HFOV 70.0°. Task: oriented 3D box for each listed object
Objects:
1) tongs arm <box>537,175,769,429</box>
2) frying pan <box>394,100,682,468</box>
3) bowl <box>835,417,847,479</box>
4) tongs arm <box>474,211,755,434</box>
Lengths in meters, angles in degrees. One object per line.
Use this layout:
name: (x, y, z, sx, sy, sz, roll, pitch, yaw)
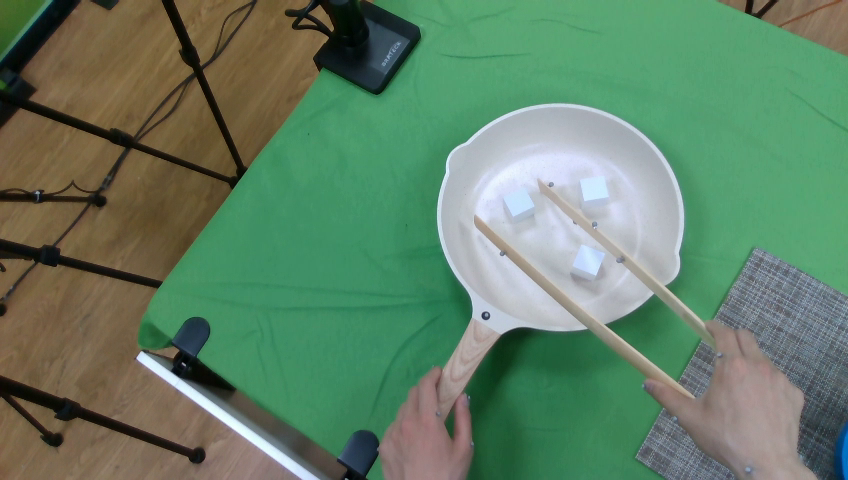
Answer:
tongs arm: (0.220, 0.041, 0.661, 0.051, 0.027, 0.380, -29, 46, -11)
frying pan: (0.105, 0.050, 0.723, 0.305, 0.103, 0.486, 31, 71, 15)
bowl: (0.498, 0.234, 0.631, 0.151, 0.077, 0.150, -2, 73, 6)
tongs arm: (0.173, 0.069, 0.651, 0.028, 0.028, 0.383, -30, 46, -18)
